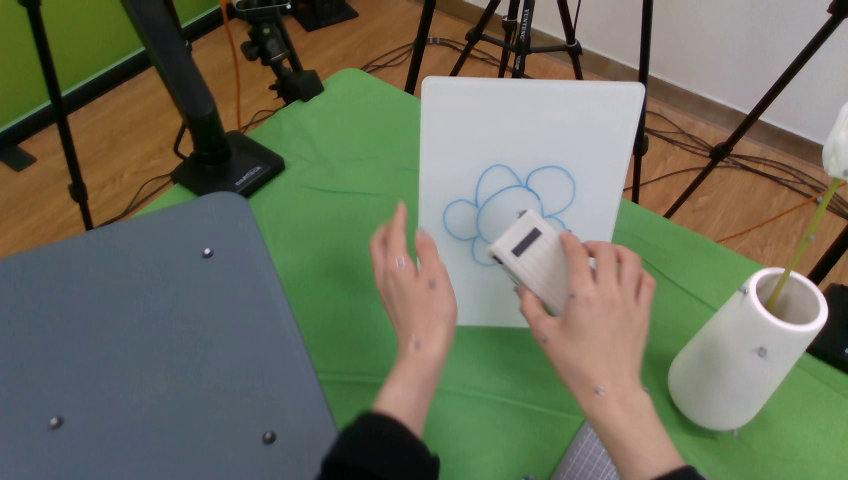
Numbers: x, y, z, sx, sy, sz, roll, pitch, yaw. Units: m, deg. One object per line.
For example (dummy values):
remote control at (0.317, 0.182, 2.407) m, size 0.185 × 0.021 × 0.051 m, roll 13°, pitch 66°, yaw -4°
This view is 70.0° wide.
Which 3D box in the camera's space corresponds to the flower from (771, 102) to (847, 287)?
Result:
flower at (0.320, 0.046, 0.559) m, size 0.044 × 0.364 × 0.038 m, roll 24°, pitch 37°, yaw 20°

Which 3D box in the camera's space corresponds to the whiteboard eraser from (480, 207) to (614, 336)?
whiteboard eraser at (0.107, 0.028, 0.531) m, size 0.112 × 0.042 × 0.055 m, roll 44°, pitch 87°, yaw 2°

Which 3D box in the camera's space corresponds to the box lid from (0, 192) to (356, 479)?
box lid at (-0.240, 0.112, 0.519) m, size 0.264 × 0.015 × 0.367 m, roll -20°, pitch 55°, yaw -18°

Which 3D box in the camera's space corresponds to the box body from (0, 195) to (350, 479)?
box body at (-0.241, 0.161, 0.576) m, size 0.254 × 0.162 × 0.360 m, roll -20°, pitch 55°, yaw -17°

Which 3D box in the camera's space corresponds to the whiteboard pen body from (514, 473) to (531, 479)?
whiteboard pen body at (0.057, 0.279, 0.584) m, size 0.017 × 0.017 × 0.140 m, roll 38°, pitch 57°, yaw 25°

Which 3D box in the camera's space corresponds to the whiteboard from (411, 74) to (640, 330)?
whiteboard at (0.098, -0.059, 0.713) m, size 0.217 × 0.308 × 0.142 m, roll 2°, pitch 32°, yaw 0°

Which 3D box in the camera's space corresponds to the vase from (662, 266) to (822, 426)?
vase at (0.316, 0.110, 0.615) m, size 0.098 × 0.202 × 0.097 m, roll 1°, pitch 50°, yaw -1°
